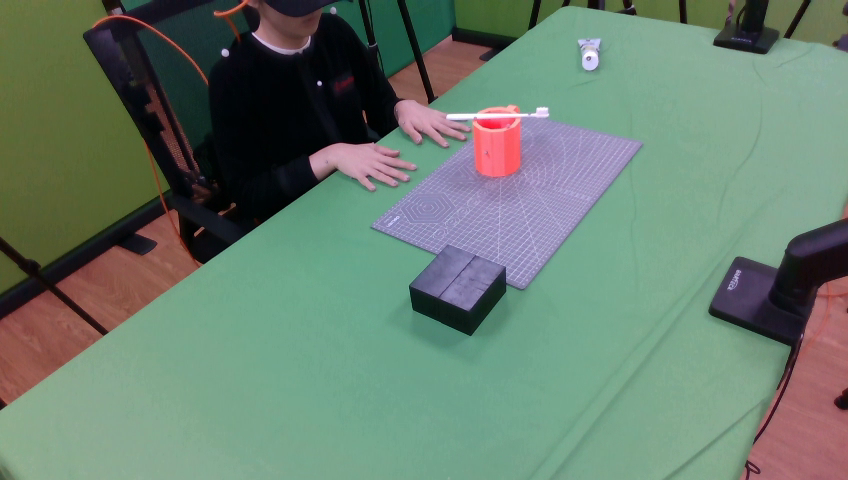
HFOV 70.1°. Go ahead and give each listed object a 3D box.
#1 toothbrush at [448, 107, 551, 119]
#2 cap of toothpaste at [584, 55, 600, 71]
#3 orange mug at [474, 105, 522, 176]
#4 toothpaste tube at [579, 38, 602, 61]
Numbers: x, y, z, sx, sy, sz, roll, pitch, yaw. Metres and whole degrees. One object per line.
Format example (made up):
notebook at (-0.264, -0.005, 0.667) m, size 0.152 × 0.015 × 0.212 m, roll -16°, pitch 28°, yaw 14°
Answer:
toothbrush at (0.132, -0.223, 1.072) m, size 0.181 × 0.017 × 0.014 m, roll 0°, pitch 42°, yaw 9°
cap of toothpaste at (0.381, -0.403, 1.372) m, size 0.037 × 0.037 × 0.011 m, roll 1°, pitch 38°, yaw 10°
orange mug at (0.145, -0.192, 1.114) m, size 0.083 × 0.101 × 0.126 m, roll 18°, pitch 51°, yaw 27°
toothpaste tube at (0.398, -0.449, 1.433) m, size 0.055 × 0.034 × 0.164 m, roll 6°, pitch 38°, yaw 8°
